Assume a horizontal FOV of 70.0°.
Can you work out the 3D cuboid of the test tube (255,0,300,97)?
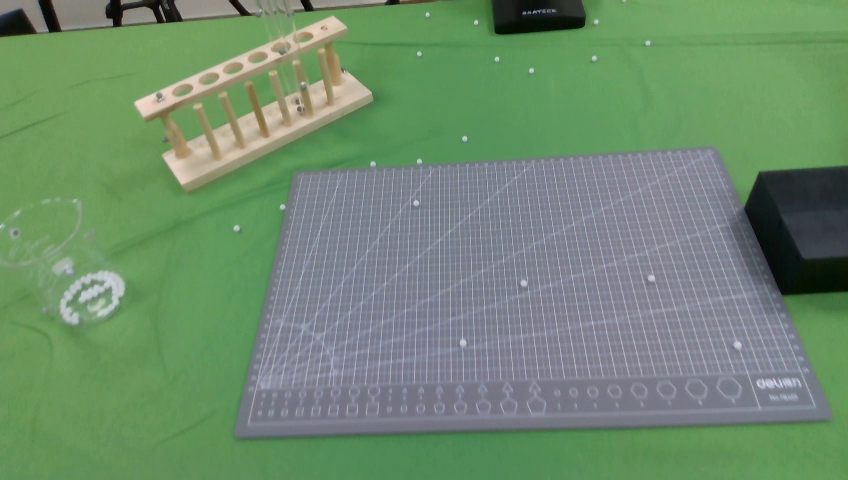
[{"bbox_3d":[-0.164,-0.223,0.670,0.017,0.152,0.017,-5,47,6],"label":"test tube"}]

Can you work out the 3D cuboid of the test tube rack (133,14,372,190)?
[{"bbox_3d":[-0.183,-0.159,0.683,0.242,0.086,0.066,-31,54,-19],"label":"test tube rack"}]

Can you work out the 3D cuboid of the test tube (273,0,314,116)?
[{"bbox_3d":[-0.140,-0.198,0.653,0.017,0.152,0.017,-2,48,3],"label":"test tube"}]

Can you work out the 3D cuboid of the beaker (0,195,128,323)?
[{"bbox_3d":[-0.317,0.019,0.540,0.073,0.101,0.083,19,54,21],"label":"beaker"}]
